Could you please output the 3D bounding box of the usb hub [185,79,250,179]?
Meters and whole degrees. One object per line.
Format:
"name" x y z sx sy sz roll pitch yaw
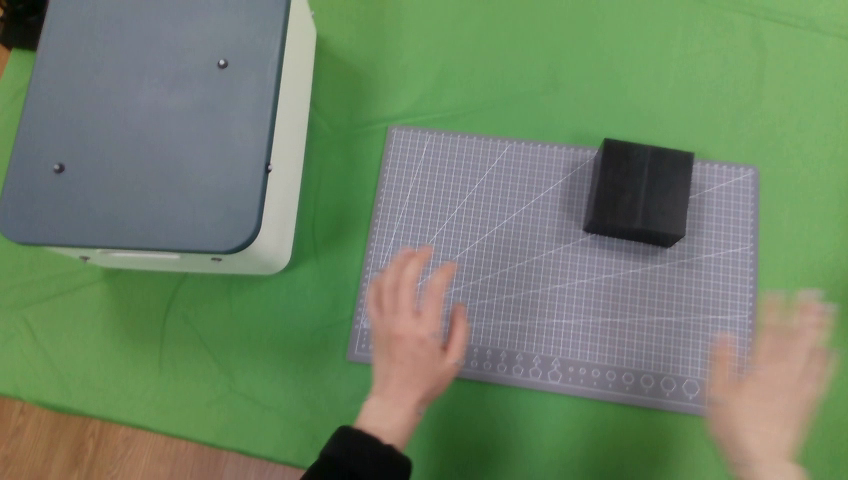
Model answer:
"usb hub" -0.255 -0.139 0.751 0.049 0.025 0.124 7 74 7

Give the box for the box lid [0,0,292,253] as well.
"box lid" -0.276 -0.168 0.622 0.263 0.015 0.369 3 76 4

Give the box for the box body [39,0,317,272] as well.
"box body" -0.272 -0.151 0.693 0.254 0.161 0.362 3 76 4
